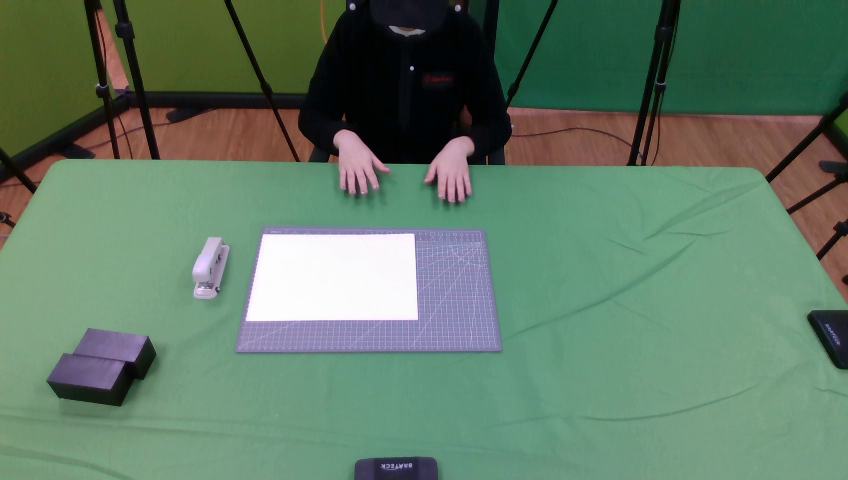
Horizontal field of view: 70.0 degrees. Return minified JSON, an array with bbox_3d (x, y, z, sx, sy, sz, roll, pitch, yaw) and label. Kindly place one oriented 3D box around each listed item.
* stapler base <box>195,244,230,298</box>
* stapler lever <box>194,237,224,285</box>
[{"bbox_3d":[-0.391,0.050,1.118,0.041,0.024,0.129,2,44,-5],"label":"stapler base"},{"bbox_3d":[-0.390,0.031,1.101,0.027,0.040,0.117,2,44,-5],"label":"stapler lever"}]
